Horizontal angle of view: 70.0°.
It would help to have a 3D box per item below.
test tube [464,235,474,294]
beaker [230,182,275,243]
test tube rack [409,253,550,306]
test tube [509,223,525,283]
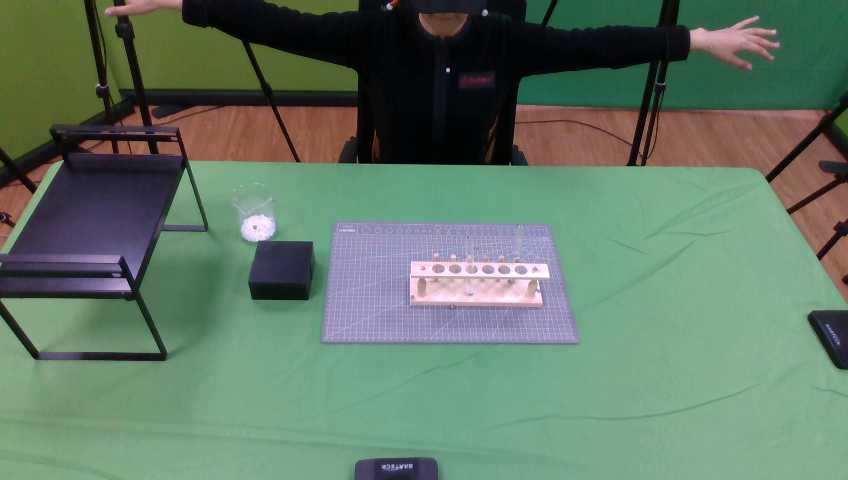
[{"bbox_3d":[0.078,0.046,1.044,0.017,0.151,0.017,-2,49,2],"label":"test tube"},{"bbox_3d":[-0.328,-0.049,1.166,0.074,0.101,0.083,2,47,-2],"label":"beaker"},{"bbox_3d":[0.095,0.067,1.093,0.242,0.085,0.066,1,47,-3],"label":"test tube rack"},{"bbox_3d":[0.165,0.025,1.077,0.017,0.151,0.017,0,47,1],"label":"test tube"}]
